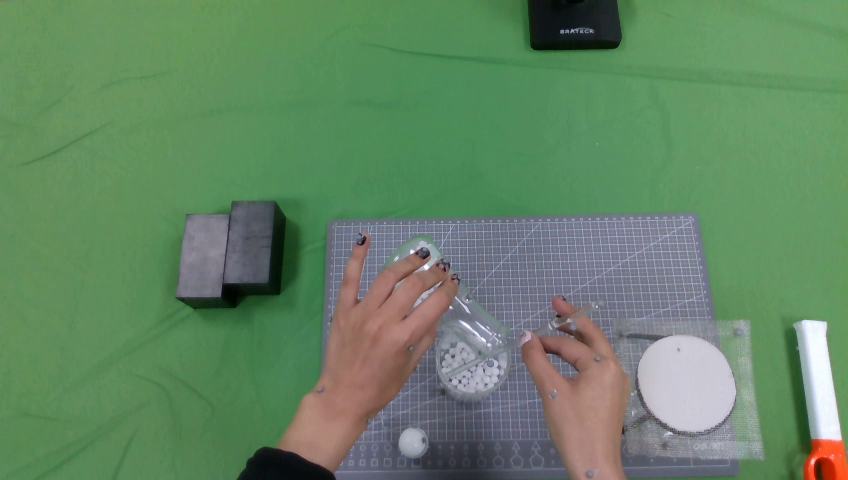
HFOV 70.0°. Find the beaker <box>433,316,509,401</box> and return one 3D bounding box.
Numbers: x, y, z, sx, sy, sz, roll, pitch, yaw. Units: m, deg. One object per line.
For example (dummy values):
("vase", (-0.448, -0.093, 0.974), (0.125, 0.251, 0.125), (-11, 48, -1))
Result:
("beaker", (0.049, 0.127, 0.635), (0.074, 0.101, 0.083), (21, 72, 8))

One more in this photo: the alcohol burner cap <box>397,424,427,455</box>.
("alcohol burner cap", (-0.013, 0.210, 0.639), (0.034, 0.048, 0.033), (0, 72, 1))

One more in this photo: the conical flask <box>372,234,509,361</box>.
("conical flask", (0.019, 0.055, 0.547), (0.121, 0.076, 0.075), (38, 75, 16))

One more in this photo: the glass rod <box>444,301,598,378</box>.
("glass rod", (0.079, 0.094, 0.543), (0.008, 0.200, 0.008), (20, 52, -29))

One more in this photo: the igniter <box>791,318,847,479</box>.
("igniter", (0.422, 0.219, 0.638), (0.057, 0.025, 0.275), (7, 71, -8))

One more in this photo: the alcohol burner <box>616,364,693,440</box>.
("alcohol burner", (0.237, 0.162, 0.612), (0.078, 0.120, 0.077), (-1, 71, 4))

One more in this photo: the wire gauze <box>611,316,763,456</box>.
("wire gauze", (0.234, 0.128, 0.542), (0.125, 0.011, 0.120), (1, 72, 2))

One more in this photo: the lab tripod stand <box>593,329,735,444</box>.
("lab tripod stand", (0.235, 0.152, 0.605), (0.148, 0.132, 0.147), (0, 73, 1))
